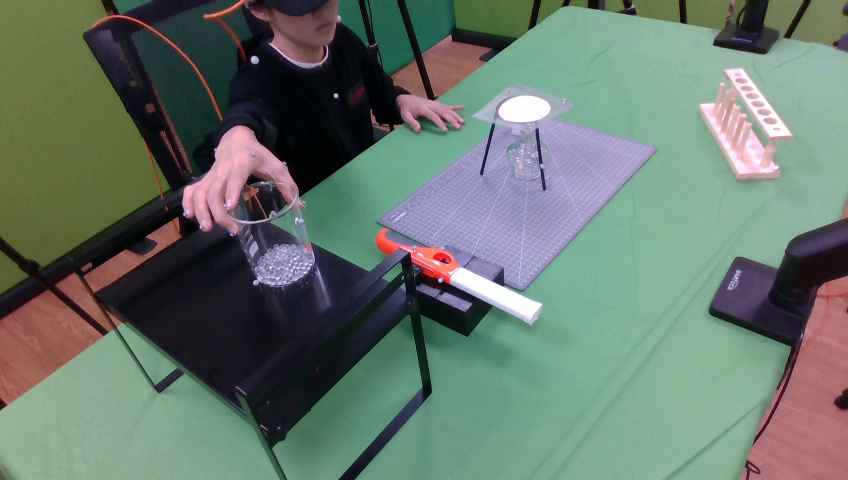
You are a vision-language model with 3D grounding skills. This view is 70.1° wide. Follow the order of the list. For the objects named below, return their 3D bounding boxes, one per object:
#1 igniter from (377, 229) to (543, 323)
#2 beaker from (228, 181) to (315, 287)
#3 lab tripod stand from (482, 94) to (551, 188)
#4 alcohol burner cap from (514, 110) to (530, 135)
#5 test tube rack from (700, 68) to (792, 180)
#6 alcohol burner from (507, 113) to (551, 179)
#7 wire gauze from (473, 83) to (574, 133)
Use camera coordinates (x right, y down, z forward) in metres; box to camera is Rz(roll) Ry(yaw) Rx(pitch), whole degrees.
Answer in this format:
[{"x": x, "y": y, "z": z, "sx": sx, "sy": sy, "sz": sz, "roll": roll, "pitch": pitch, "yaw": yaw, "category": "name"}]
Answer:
[{"x": 0.038, "y": 0.044, "z": 0.843, "sx": 0.274, "sy": 0.025, "sz": 0.057, "roll": 25, "pitch": 47, "yaw": 29, "category": "igniter"}, {"x": -0.164, "y": -0.006, "z": 0.670, "sx": 0.074, "sy": 0.101, "sz": 0.083, "roll": -4, "pitch": 40, "yaw": 4, "category": "beaker"}, {"x": 0.172, "y": -0.176, "z": 1.064, "sx": 0.148, "sy": 0.132, "sz": 0.147, "roll": -5, "pitch": 42, "yaw": 5, "category": "lab tripod stand"}, {"x": 0.194, "y": -0.235, "z": 1.200, "sx": 0.034, "sy": 0.048, "sz": 0.033, "roll": -5, "pitch": 42, "yaw": 5, "category": "alcohol burner cap"}, {"x": 0.572, "y": -0.215, "z": 1.090, "sx": 0.066, "sy": 0.085, "sz": 0.241, "roll": -3, "pitch": 41, "yaw": 7, "category": "test tube rack"}, {"x": 0.186, "y": -0.169, "z": 1.069, "sx": 0.078, "sy": 0.119, "sz": 0.077, "roll": -5, "pitch": 39, "yaw": 4, "category": "alcohol burner"}, {"x": 0.167, "y": -0.221, "z": 1.013, "sx": 0.120, "sy": 0.011, "sz": 0.125, "roll": 30, "pitch": 55, "yaw": 35, "category": "wire gauze"}]
